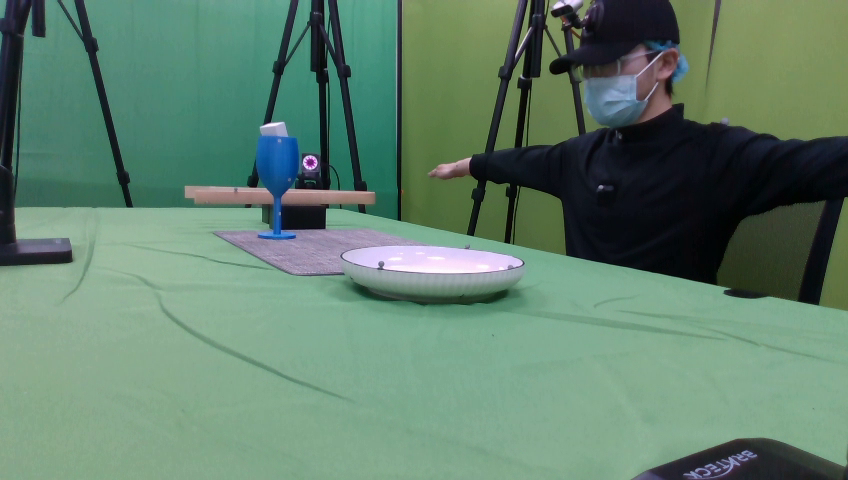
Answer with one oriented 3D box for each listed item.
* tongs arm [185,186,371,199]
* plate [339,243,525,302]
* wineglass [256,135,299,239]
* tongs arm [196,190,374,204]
[{"bbox_3d":[-0.304,-0.096,1.297,0.389,0.028,0.028,0,2,-20],"label":"tongs arm"},{"bbox_3d":[0.008,0.035,0.682,0.209,0.038,0.209,3,7,0],"label":"plate"},{"bbox_3d":[-0.252,-0.091,1.035,0.074,0.172,0.073,2,7,0],"label":"wineglass"},{"bbox_3d":[-0.266,-0.086,1.227,0.387,0.026,0.050,-2,6,-33],"label":"tongs arm"}]
